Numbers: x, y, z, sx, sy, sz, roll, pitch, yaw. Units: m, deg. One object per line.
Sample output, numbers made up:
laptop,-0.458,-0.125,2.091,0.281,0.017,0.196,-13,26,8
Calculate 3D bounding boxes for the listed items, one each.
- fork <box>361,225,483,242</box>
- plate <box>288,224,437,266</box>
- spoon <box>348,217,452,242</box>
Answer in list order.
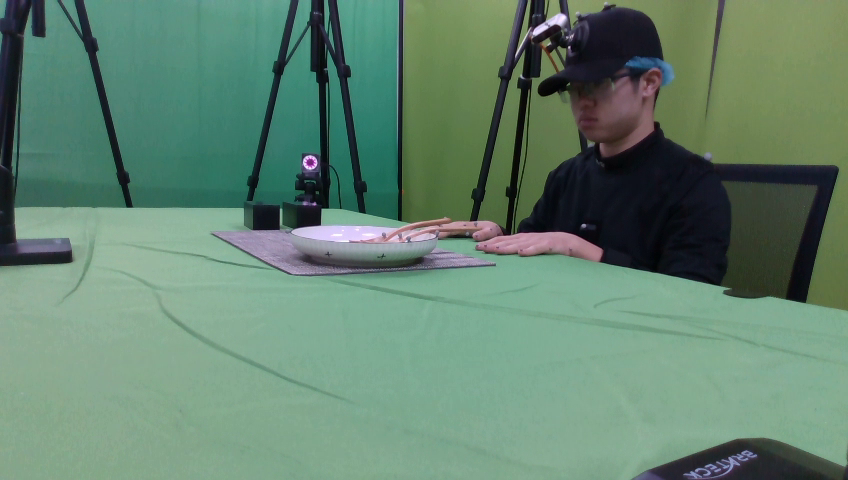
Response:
fork,0.002,-0.009,0.894,0.208,0.018,0.028,-11,13,-30
plate,-0.086,0.007,0.852,0.208,0.039,0.207,2,7,0
spoon,-0.030,-0.015,0.924,0.195,0.021,0.041,-19,17,-36
